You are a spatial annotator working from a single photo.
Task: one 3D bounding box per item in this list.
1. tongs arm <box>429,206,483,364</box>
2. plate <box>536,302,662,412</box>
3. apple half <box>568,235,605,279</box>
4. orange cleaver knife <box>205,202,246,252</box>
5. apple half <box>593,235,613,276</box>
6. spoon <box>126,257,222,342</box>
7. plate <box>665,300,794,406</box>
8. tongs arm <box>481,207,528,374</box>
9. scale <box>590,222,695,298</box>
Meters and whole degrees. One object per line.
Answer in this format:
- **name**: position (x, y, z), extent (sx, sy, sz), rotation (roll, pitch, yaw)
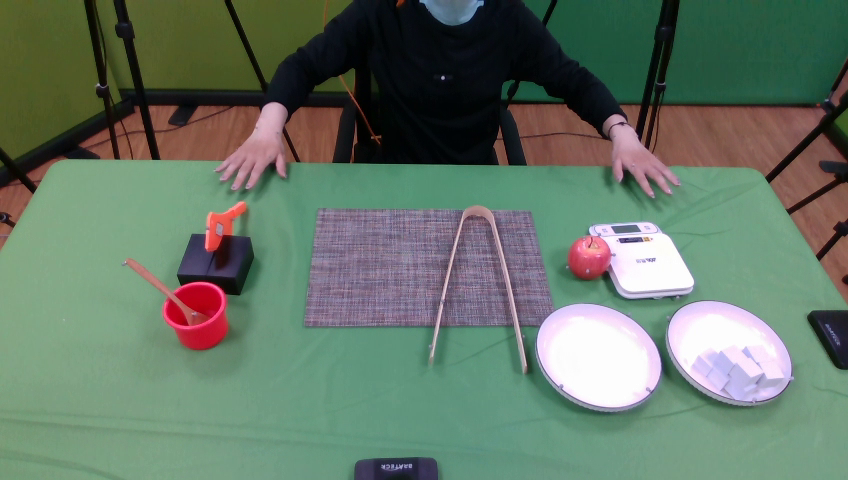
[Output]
- **tongs arm**: position (0.064, 0.069, 1.124), extent (0.051, 0.026, 0.382), rotation (8, 45, 5)
- **plate**: position (0.288, 0.197, 1.016), extent (0.209, 0.038, 0.208), rotation (2, 46, -2)
- **apple half**: position (0.302, 0.035, 1.148), extent (0.053, 0.075, 0.080), rotation (-9, 51, -8)
- **orange cleaver knife**: position (-0.374, -0.029, 1.150), extent (0.012, 0.077, 0.211), rotation (3, 13, 0)
- **apple half**: position (0.340, 0.029, 1.155), extent (0.033, 0.082, 0.080), rotation (-10, 47, -8)
- **spoon**: position (-0.408, 0.096, 0.990), extent (0.194, 0.021, 0.041), rotation (50, 53, -18)
- **plate**: position (0.513, 0.194, 1.034), extent (0.208, 0.039, 0.206), rotation (2, 46, -2)
- **tongs arm**: position (0.149, 0.077, 1.123), extent (0.028, 0.028, 0.385), rotation (-4, 46, -2)
- **scale**: position (0.424, 0.031, 1.189), extent (0.149, 0.032, 0.199), rotation (-3, 46, -7)
